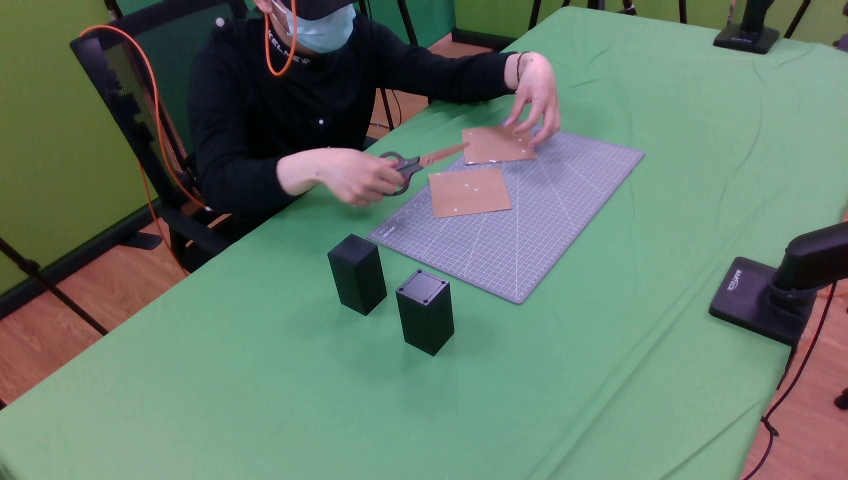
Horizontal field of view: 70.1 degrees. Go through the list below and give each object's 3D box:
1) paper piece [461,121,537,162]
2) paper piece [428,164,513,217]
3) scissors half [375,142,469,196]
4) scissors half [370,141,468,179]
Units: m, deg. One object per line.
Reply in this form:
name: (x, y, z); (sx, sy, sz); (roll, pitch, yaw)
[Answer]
paper piece: (0.143, -0.193, 1.182); (0.136, 0.009, 0.137); (-2, 41, 1)
paper piece: (0.079, -0.091, 1.069); (0.135, 0.004, 0.135); (-6, 41, 0)
scissors half: (-0.003, -0.118, 0.987); (0.175, 0.013, 0.040); (-28, 82, 17)
scissors half: (-0.010, -0.136, 0.989); (0.174, 0.040, 0.013); (-12, 2, 18)
